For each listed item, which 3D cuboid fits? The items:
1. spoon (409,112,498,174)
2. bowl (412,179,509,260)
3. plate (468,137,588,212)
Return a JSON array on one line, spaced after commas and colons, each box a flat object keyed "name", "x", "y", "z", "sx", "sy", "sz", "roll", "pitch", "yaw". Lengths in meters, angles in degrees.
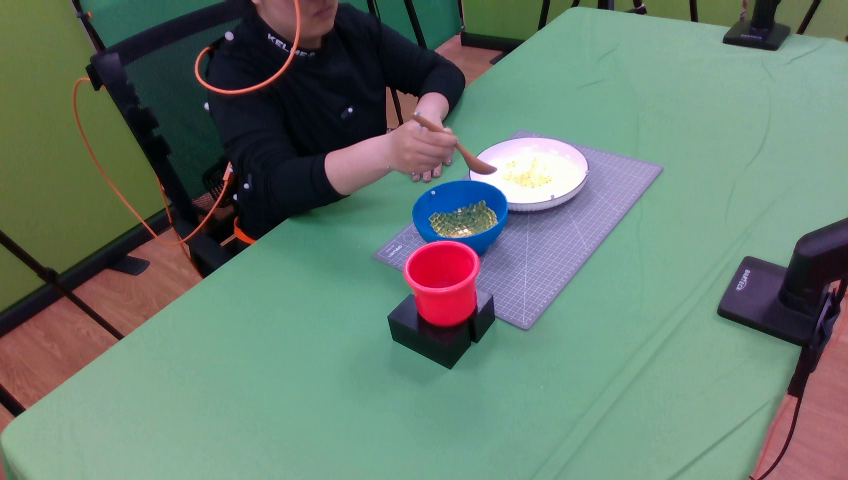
[{"name": "spoon", "x": 0.045, "y": -0.140, "z": 0.891, "sx": 0.041, "sy": 0.195, "sz": 0.021, "roll": 0, "pitch": 66, "yaw": 45}, {"name": "bowl", "x": 0.060, "y": -0.022, "z": 0.949, "sx": 0.151, "sy": 0.077, "sz": 0.150, "roll": -5, "pitch": 40, "yaw": 5}, {"name": "plate", "x": 0.182, "y": -0.112, "z": 1.064, "sx": 0.207, "sy": 0.039, "sz": 0.206, "roll": -5, "pitch": 40, "yaw": 5}]
